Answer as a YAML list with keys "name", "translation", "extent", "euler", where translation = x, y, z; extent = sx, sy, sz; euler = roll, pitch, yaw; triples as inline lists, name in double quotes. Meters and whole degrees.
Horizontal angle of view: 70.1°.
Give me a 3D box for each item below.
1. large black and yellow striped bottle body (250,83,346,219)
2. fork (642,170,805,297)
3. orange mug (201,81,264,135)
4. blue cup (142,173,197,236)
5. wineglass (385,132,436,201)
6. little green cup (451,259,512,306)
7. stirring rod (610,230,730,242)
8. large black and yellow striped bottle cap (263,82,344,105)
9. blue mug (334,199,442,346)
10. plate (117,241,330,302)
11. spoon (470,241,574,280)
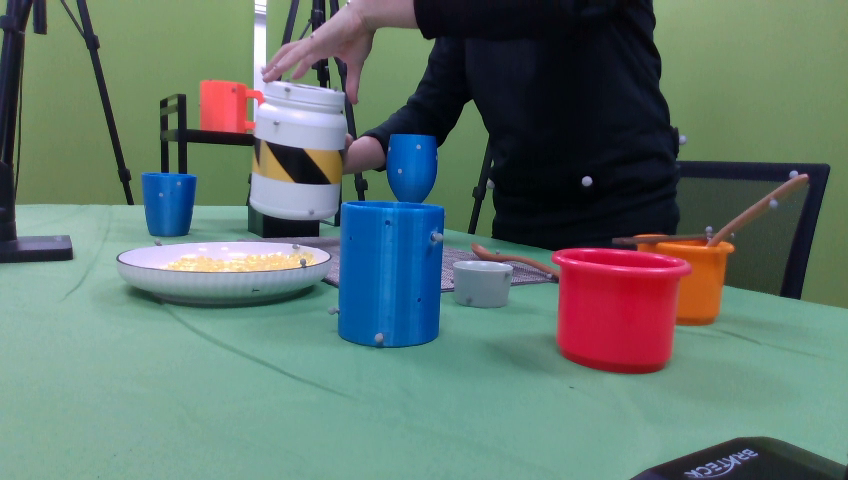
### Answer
- name: "large black and yellow striped bottle body"
  translation: [-0.187, -0.134, 0.901]
  extent: [0.131, 0.184, 0.130]
  euler: [8, 15, -2]
- name: "fork"
  translation: [0.261, 0.004, 0.545]
  extent: [0.028, 0.018, 0.207]
  euler: [5, -37, -15]
- name: "orange mug"
  translation: [-0.377, -0.260, 1.198]
  extent: [0.126, 0.101, 0.083]
  euler: [-3, 8, -6]
- name: "blue cup"
  translation: [-0.425, -0.060, 1.014]
  extent: [0.093, 0.100, 0.092]
  euler: [3, 9, 0]
- name: "wineglass"
  translation: [-0.020, -0.061, 0.839]
  extent: [0.074, 0.172, 0.073]
  euler: [2, 7, 0]
- name: "little green cup"
  translation: [0.057, 0.043, 0.611]
  extent: [0.061, 0.038, 0.061]
  euler: [3, 7, 0]
- name: "stirring rod"
  translation: [0.241, -0.005, 0.582]
  extent: [0.177, 0.006, 0.014]
  euler: [-3, 10, -34]
- name: "large black and yellow striped bottle cap"
  translation: [-0.174, -0.213, 0.878]
  extent: [0.115, 0.019, 0.115]
  euler: [7, 17, -2]
- name: "blue mug"
  translation: [-0.034, 0.020, 0.498]
  extent: [0.083, 0.106, 0.116]
  euler: [0, 7, -19]
- name: "plate"
  translation: [-0.203, 0.031, 0.630]
  extent: [0.209, 0.038, 0.209]
  euler: [3, 7, 0]
- name: "spoon"
  translation: [0.124, 0.025, 0.801]
  extent: [0.042, 0.021, 0.192]
  euler: [22, -5, -34]
